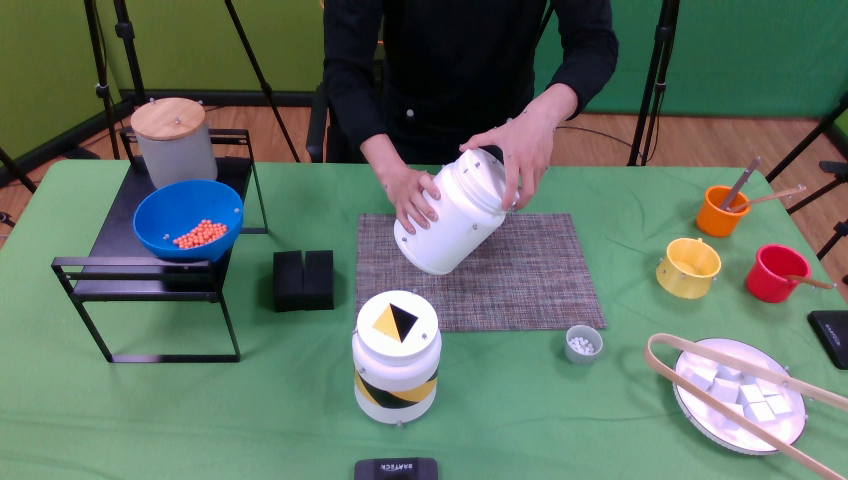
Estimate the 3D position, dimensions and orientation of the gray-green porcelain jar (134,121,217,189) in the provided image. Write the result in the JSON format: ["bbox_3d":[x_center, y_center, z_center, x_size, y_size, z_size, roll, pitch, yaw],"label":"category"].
[{"bbox_3d":[-0.397,-0.141,0.979,0.106,0.127,0.105,2,47,-2],"label":"gray-green porcelain jar"}]

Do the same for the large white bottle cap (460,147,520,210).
[{"bbox_3d":[0.103,-0.097,0.945,0.115,0.018,0.114,30,37,-25],"label":"large white bottle cap"}]

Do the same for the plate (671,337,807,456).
[{"bbox_3d":[0.504,0.254,0.984,0.208,0.039,0.206,2,46,-2],"label":"plate"}]

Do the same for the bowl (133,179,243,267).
[{"bbox_3d":[-0.339,-0.013,0.895,0.151,0.077,0.150,2,46,-2],"label":"bowl"}]

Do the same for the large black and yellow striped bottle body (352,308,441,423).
[{"bbox_3d":[-0.042,0.178,0.912,0.131,0.185,0.130,2,46,-2],"label":"large black and yellow striped bottle body"}]

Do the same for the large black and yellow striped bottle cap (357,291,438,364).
[{"bbox_3d":[-0.037,0.121,0.851,0.115,0.019,0.114,1,46,-1],"label":"large black and yellow striped bottle cap"}]

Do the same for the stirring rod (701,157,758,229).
[{"bbox_3d":[0.634,-0.097,1.257,0.014,0.006,0.176,38,97,29],"label":"stirring rod"}]

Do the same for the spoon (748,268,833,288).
[{"bbox_3d":[0.660,0.068,1.097,0.041,0.193,0.021,-4,91,-6],"label":"spoon"}]

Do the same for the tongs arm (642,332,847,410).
[{"bbox_3d":[0.546,0.227,0.968,0.384,0.026,0.050,22,52,13],"label":"tongs arm"}]

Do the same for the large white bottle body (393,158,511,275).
[{"bbox_3d":[0.050,-0.043,0.992,0.131,0.185,0.130,29,35,-23],"label":"large white bottle body"}]

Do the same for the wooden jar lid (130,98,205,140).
[{"bbox_3d":[-0.393,-0.183,0.934,0.108,0.021,0.107,3,44,-2],"label":"wooden jar lid"}]

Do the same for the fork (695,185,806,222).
[{"bbox_3d":[0.658,-0.074,1.230,0.207,0.019,0.028,-23,36,37],"label":"fork"}]

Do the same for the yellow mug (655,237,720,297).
[{"bbox_3d":[0.509,0.041,1.167,0.099,0.064,0.130,24,48,18],"label":"yellow mug"}]

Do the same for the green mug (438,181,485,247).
[{"bbox_3d":[0.071,-0.039,1.178,0.092,0.105,0.124,12,47,7],"label":"green mug"}]

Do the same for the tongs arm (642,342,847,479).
[{"bbox_3d":[0.504,0.279,0.918,0.386,0.028,0.028,33,59,22],"label":"tongs arm"}]

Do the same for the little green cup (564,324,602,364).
[{"bbox_3d":[0.269,0.179,1.036,0.061,0.039,0.061,2,45,-2],"label":"little green cup"}]
